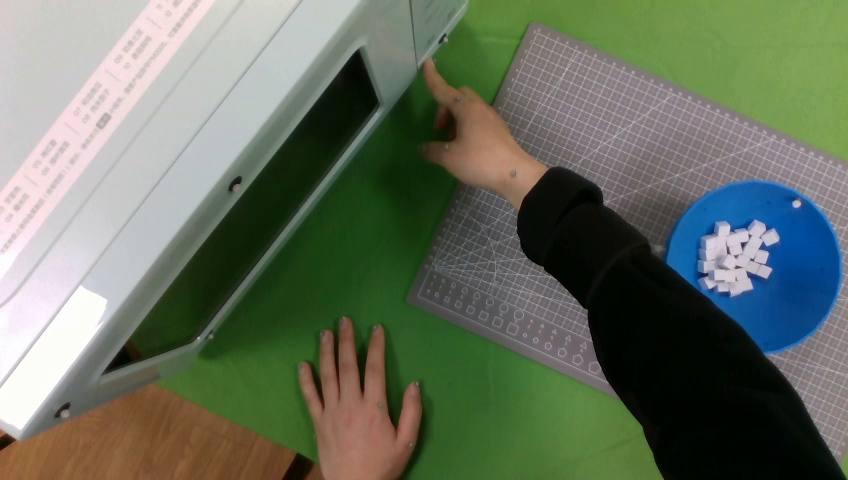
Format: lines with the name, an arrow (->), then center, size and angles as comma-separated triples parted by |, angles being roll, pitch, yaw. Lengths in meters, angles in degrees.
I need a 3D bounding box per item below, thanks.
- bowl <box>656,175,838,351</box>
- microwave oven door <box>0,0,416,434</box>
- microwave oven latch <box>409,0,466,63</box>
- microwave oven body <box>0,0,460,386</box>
bowl -> 0.277, 0.020, 0.551 | 0.151, 0.077, 0.151 | 0, 90, 1
microwave oven door -> -0.133, -0.033, 0.457 | 0.039, 0.244, 0.355 | 38, 90, 1
microwave oven latch -> 0.007, -0.204, 0.557 | 0.030, 0.029, 0.079 | 41, 91, 0
microwave oven body -> -0.221, -0.157, 0.463 | 0.326, 0.260, 0.441 | 38, 91, 0
